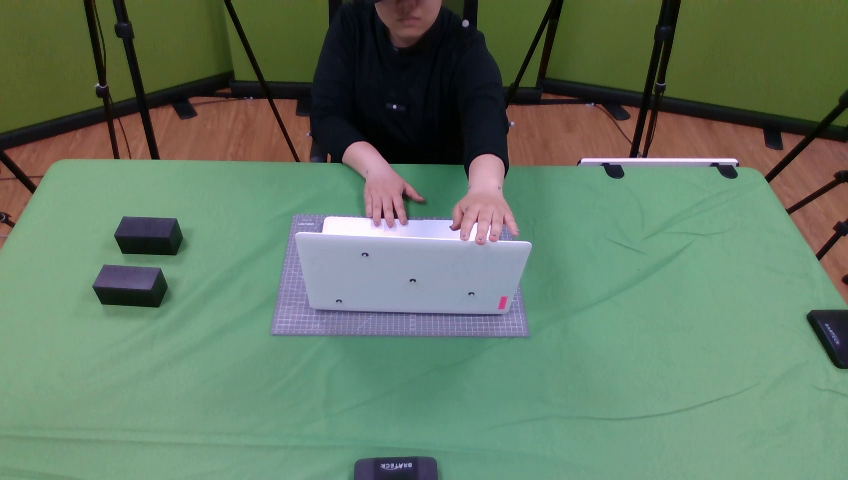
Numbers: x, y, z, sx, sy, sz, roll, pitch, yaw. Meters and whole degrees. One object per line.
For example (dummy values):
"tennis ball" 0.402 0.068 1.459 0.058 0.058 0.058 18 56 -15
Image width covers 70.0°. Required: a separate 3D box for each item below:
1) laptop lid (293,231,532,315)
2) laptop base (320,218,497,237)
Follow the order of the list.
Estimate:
"laptop lid" -0.021 0.061 0.974 0.357 0.243 0.013 3 55 -4
"laptop base" -0.028 0.045 1.154 0.354 0.023 0.234 2 42 -3
